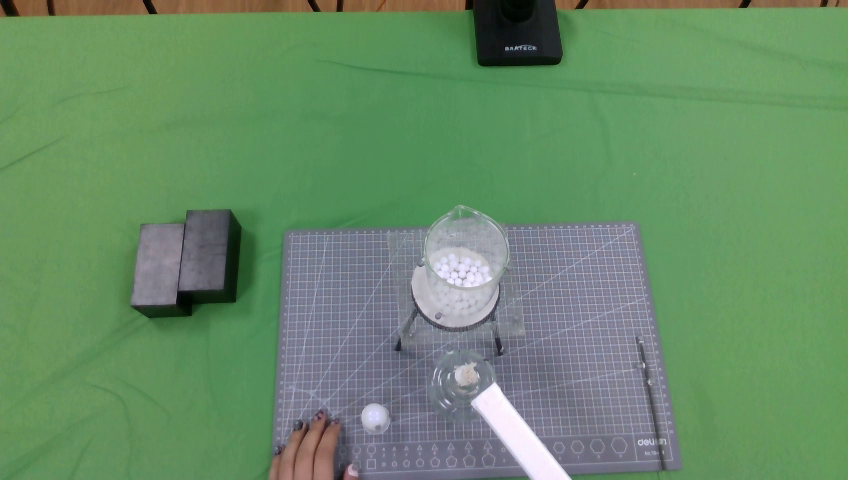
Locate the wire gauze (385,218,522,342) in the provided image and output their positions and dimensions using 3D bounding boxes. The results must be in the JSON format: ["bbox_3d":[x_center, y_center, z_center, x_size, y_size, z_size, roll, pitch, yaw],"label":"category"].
[{"bbox_3d":[0.028,0.038,0.602,0.125,0.011,0.120,-6,67,-2],"label":"wire gauze"}]

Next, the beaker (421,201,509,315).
[{"bbox_3d":[0.033,0.021,0.557,0.074,0.101,0.083,-5,67,-3],"label":"beaker"}]

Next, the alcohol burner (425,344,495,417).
[{"bbox_3d":[0.039,0.146,0.643,0.078,0.120,0.077,0,67,0],"label":"alcohol burner"}]

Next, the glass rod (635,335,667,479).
[{"bbox_3d":[0.258,0.205,0.683,0.008,0.008,0.198,-2,69,-3],"label":"glass rod"}]

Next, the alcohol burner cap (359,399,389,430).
[{"bbox_3d":[-0.056,0.188,0.662,0.034,0.048,0.033,1,69,-1],"label":"alcohol burner cap"}]

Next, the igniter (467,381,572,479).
[{"bbox_3d":[0.137,0.246,0.545,0.057,0.025,0.275,-39,76,-4],"label":"igniter"}]

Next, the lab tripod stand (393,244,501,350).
[{"bbox_3d":[0.027,0.065,0.663,0.148,0.132,0.147,0,67,0],"label":"lab tripod stand"}]
